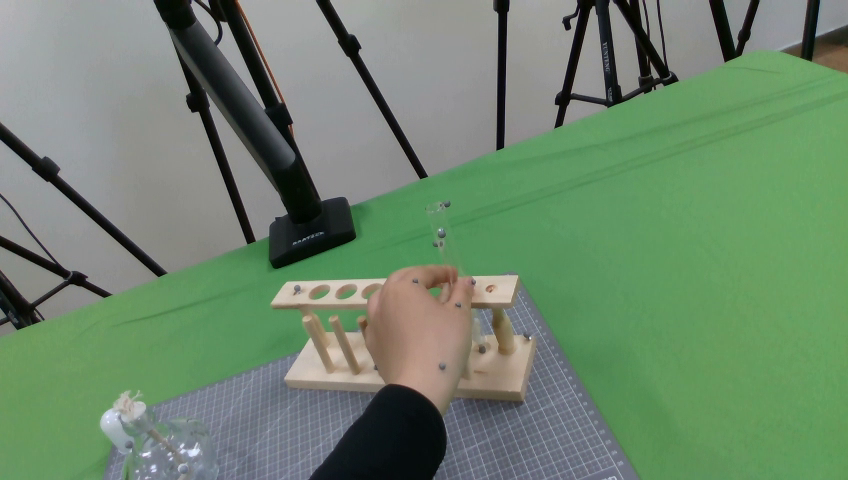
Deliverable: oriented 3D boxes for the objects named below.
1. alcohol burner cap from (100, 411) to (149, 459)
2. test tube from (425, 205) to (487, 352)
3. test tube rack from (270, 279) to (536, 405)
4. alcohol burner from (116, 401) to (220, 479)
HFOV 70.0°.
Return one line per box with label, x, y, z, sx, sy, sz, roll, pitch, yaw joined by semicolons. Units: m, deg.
alcohol burner cap;-0.299;0.190;0.600;0.034;0.048;0.033;-13;34;9
test tube;0.029;0.037;0.517;0.017;0.151;0.017;-15;29;9
test tube rack;-0.028;0.093;0.559;0.241;0.086;0.066;-4;35;24
alcohol burner;-0.224;0.176;0.512;0.078;0.120;0.077;-12;34;9
